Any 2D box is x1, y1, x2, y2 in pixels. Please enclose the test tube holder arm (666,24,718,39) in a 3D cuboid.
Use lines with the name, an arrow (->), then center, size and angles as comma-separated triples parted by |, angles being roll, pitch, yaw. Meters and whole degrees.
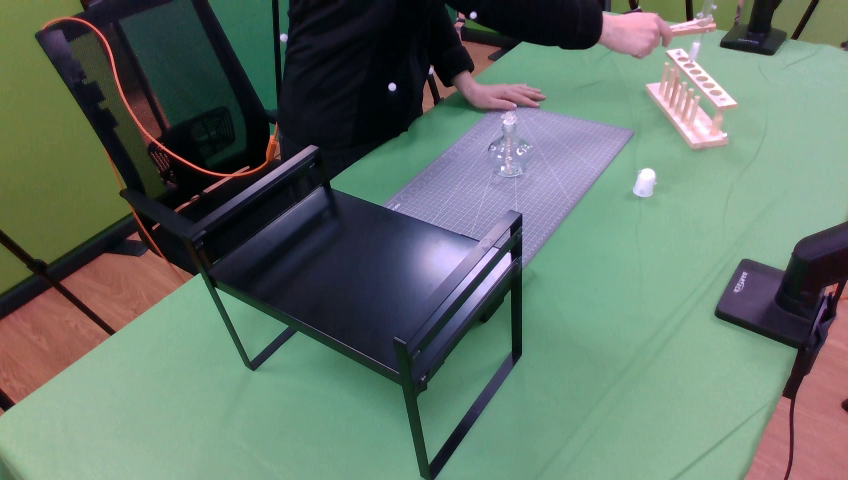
test tube holder arm -> 0.474, -0.370, 1.073 | 0.088, 0.015, 0.010 | -5, 64, 5

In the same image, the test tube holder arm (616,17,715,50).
test tube holder arm -> 0.429, -0.367, 1.077 | 0.178, 0.015, 0.013 | -13, 63, 1

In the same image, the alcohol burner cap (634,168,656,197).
alcohol burner cap -> 0.374, -0.099, 1.018 | 0.034, 0.048, 0.033 | -1, 41, 1

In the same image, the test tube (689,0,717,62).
test tube -> 0.497, -0.375, 1.080 | 0.017, 0.151, 0.017 | -4, 61, 8

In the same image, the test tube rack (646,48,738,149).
test tube rack -> 0.511, -0.280, 1.175 | 0.067, 0.085, 0.241 | -7, 41, 0

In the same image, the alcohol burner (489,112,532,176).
alcohol burner -> 0.155, -0.176, 1.083 | 0.078, 0.119, 0.077 | -3, 41, 3
